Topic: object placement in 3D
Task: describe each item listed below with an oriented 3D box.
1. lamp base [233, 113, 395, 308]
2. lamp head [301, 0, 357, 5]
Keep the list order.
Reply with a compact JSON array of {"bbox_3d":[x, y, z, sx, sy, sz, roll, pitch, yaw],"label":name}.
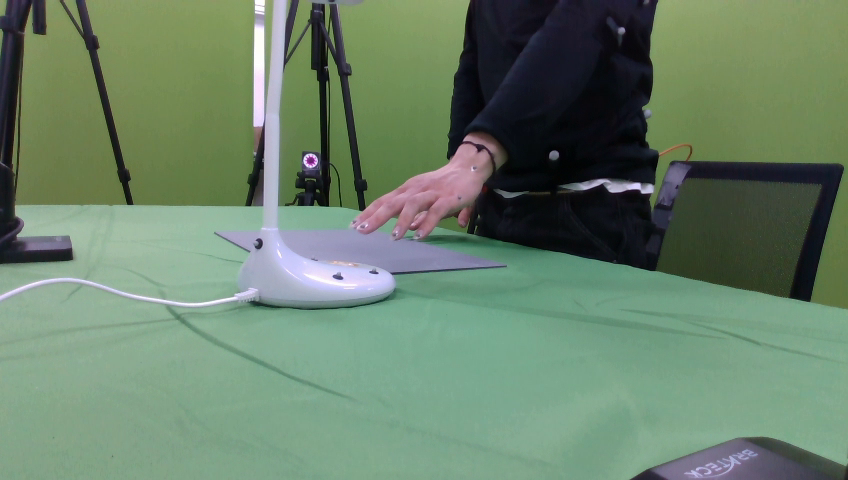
[{"bbox_3d":[-0.113,-0.033,0.599,0.160,0.180,0.180,6,11,28],"label":"lamp base"},{"bbox_3d":[-0.096,-0.314,0.610,0.112,0.123,0.112,-4,50,5],"label":"lamp head"}]
